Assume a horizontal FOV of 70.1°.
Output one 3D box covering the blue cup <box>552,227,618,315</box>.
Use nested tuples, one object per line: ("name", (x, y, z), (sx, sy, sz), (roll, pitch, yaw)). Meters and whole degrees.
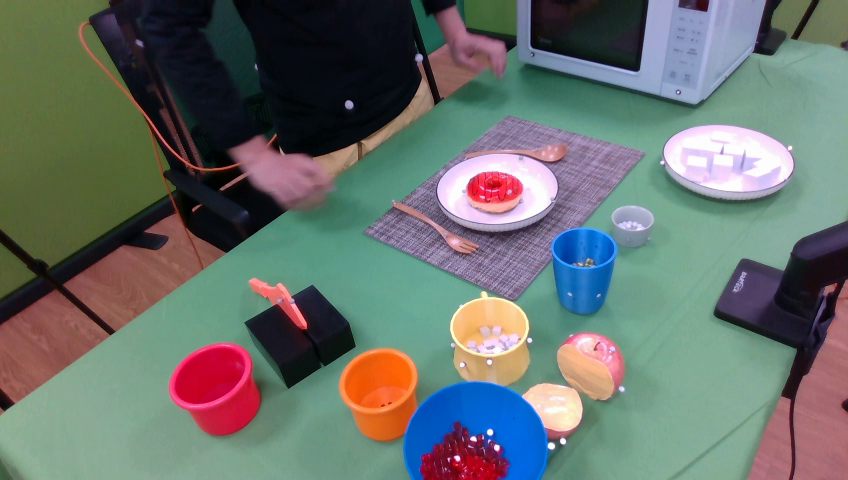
("blue cup", (0.218, 0.047, 0.825), (0.092, 0.100, 0.092), (-6, 39, 5))

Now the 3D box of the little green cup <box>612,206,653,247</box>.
("little green cup", (0.321, -0.019, 0.936), (0.061, 0.039, 0.061), (-4, 40, 4))

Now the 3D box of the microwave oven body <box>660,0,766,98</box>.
("microwave oven body", (0.472, -0.513, 1.317), (0.438, 0.261, 0.327), (26, 51, 34))

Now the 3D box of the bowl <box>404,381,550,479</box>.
("bowl", (0.058, 0.235, 0.645), (0.151, 0.077, 0.150), (-4, 39, 4))

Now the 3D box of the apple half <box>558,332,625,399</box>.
("apple half", (0.209, 0.147, 0.731), (0.080, 0.075, 0.053), (25, 46, 38))

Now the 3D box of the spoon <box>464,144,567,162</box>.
("spoon", (0.170, -0.163, 1.134), (0.193, 0.022, 0.041), (1, 60, 10))

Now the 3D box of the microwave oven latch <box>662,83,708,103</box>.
("microwave oven latch", (0.518, -0.296, 1.204), (0.078, 0.029, 0.030), (27, 52, 35))

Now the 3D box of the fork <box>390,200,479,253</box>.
("fork", (0.011, -0.025, 0.998), (0.028, 0.019, 0.205), (-39, 51, -23))

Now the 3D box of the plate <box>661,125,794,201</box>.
("plate", (0.513, -0.128, 1.035), (0.207, 0.039, 0.206), (-4, 40, 4))

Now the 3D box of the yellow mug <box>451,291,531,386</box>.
("yellow mug", (0.085, 0.120, 0.786), (0.100, 0.064, 0.130), (-7, 39, 1))

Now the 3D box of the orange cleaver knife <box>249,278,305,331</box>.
("orange cleaver knife", (-0.210, 0.088, 0.856), (0.012, 0.077, 0.210), (-28, 15, -25))

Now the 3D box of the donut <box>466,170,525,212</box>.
("donut", (0.121, -0.084, 1.019), (0.099, 0.048, 0.098), (-4, 39, 3))

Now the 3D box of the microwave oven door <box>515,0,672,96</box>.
("microwave oven door", (0.343, -0.454, 1.259), (0.353, 0.245, 0.039), (26, 51, 33))

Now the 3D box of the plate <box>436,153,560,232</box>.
("plate", (0.125, -0.078, 1.029), (0.209, 0.038, 0.208), (-4, 40, 4))

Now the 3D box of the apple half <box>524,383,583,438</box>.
("apple half", (0.150, 0.204, 0.704), (0.081, 0.033, 0.081), (-10, 25, 5))
